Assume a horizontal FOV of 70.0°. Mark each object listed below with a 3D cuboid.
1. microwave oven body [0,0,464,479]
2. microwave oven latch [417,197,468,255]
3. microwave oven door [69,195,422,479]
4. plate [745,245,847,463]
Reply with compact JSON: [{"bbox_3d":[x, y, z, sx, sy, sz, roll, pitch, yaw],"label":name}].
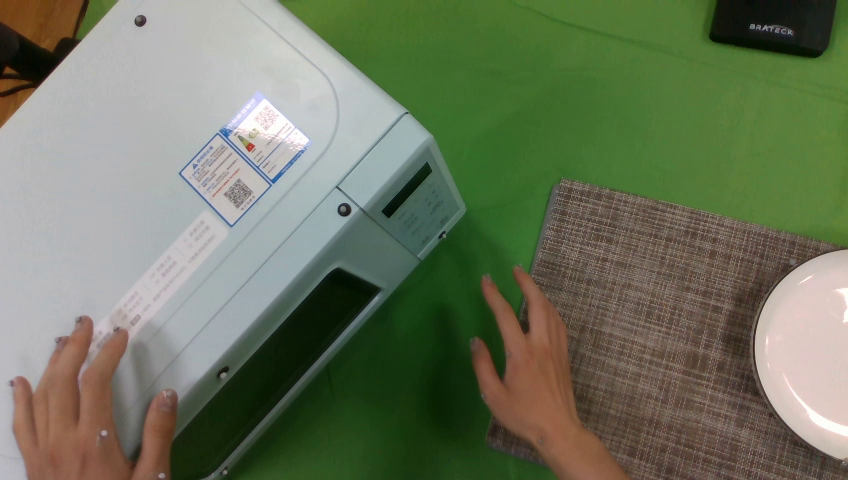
[{"bbox_3d":[-0.230,-0.005,0.608,0.324,0.261,0.441,42,90,14],"label":"microwave oven body"},{"bbox_3d":[0.014,-0.021,0.667,0.079,0.029,0.030,-46,75,0],"label":"microwave oven latch"},{"bbox_3d":[-0.155,0.120,0.566,0.039,0.245,0.355,42,89,16],"label":"microwave oven door"},{"bbox_3d":[0.418,0.109,0.583,0.207,0.039,0.206,-2,79,10],"label":"plate"}]
